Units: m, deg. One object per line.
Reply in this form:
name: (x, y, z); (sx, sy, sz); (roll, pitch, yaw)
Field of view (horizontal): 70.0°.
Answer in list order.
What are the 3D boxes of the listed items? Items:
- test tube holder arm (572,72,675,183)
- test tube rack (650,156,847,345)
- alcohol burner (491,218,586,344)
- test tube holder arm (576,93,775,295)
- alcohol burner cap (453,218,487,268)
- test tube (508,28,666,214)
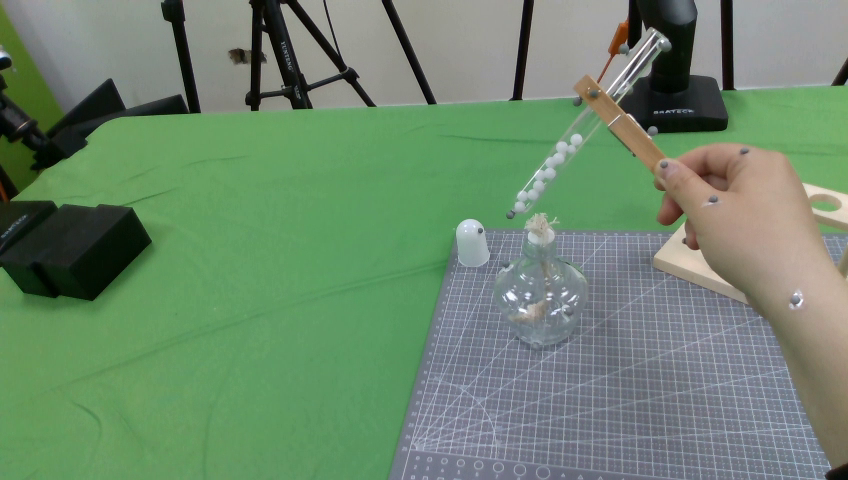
test tube holder arm: (0.130, -0.074, 0.398); (0.087, 0.015, 0.010); (51, 19, 8)
test tube rack: (0.309, 0.016, 0.472); (0.240, 0.086, 0.066); (26, 52, 36)
alcohol burner: (0.092, 0.028, 0.487); (0.078, 0.120, 0.077); (-6, 41, 5)
test tube holder arm: (0.159, -0.039, 0.392); (0.015, 0.013, 0.177); (-42, 72, 20)
alcohol burner cap: (0.044, 0.000, 0.589); (0.034, 0.048, 0.033); (-6, 41, 5)
test tube: (0.107, -0.077, 0.415); (0.017, 0.150, 0.017); (32, 23, -14)
